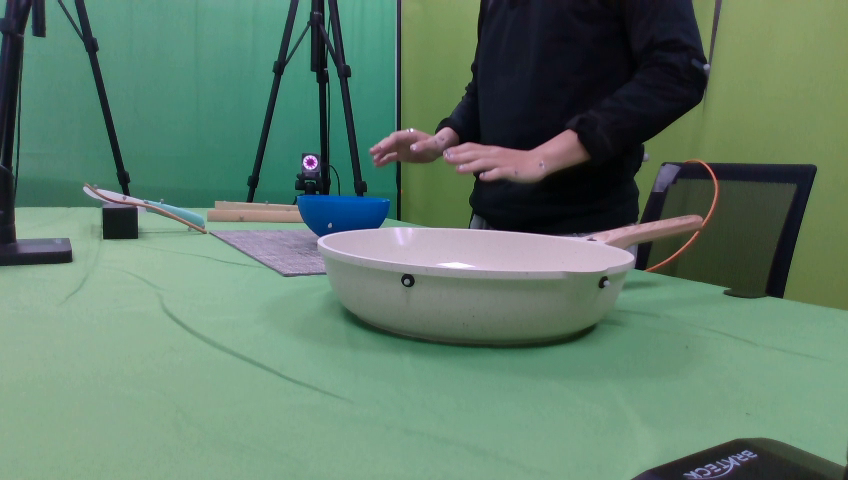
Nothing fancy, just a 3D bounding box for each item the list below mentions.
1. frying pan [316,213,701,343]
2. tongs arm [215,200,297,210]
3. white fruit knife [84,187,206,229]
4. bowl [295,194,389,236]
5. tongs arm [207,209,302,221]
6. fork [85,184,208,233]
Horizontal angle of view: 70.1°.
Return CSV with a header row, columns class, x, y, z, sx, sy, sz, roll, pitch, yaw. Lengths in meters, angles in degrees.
class,x,y,z,sx,sy,sz,roll,pitch,yaw
frying pan,0.133,0.013,0.629,0.490,0.102,0.305,-12,14,-30
tongs arm,-0.295,-0.069,1.425,0.386,0.026,0.050,2,8,-9
white fruit knife,-0.488,-0.059,1.071,0.208,0.027,0.016,17,4,-33
bowl,-0.133,-0.032,0.980,0.151,0.077,0.151,2,7,0
tongs arm,-0.277,-0.055,1.347,0.389,0.028,0.028,0,5,-22
fork,-0.462,-0.051,1.019,0.208,0.018,0.028,22,-11,-37
